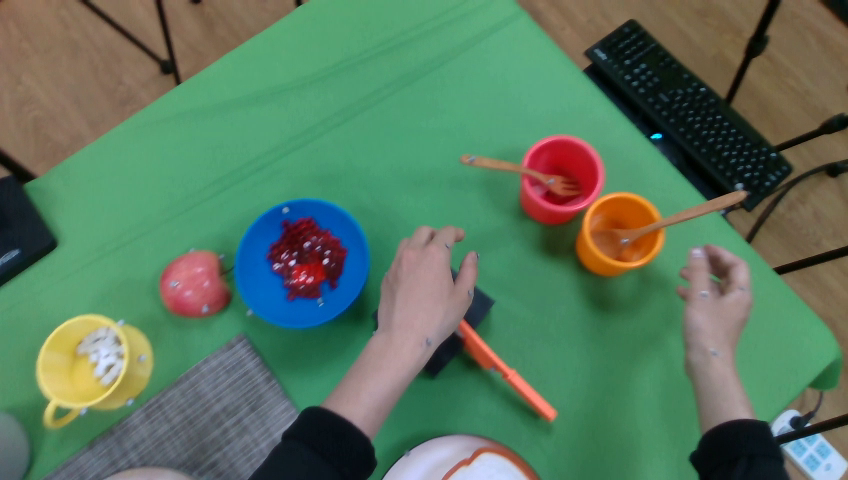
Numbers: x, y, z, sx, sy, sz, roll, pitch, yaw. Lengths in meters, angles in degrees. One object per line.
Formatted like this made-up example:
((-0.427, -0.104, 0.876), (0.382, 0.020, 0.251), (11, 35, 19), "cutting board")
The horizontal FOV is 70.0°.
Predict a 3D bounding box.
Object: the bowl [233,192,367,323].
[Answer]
((-0.138, 0.029, 0.713), (0.151, 0.077, 0.150), (0, 74, 0), "bowl")

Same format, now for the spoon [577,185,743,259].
((0.263, -0.021, 0.692), (0.022, 0.193, 0.041), (5, 68, -45), "spoon")

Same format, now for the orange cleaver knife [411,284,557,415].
((0.066, 0.123, 0.685), (0.212, 0.077, 0.012), (45, 70, -11), "orange cleaver knife")

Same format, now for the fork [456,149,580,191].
((0.116, -0.083, 0.710), (0.209, 0.018, 0.028), (8, 67, -42), "fork")

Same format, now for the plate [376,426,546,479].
((0.040, 0.308, 0.655), (0.209, 0.038, 0.208), (0, 75, 0), "plate")

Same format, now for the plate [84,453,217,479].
((-0.294, 0.335, 0.643), (0.208, 0.039, 0.206), (0, 74, 0), "plate")

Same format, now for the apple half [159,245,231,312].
((-0.277, 0.043, 0.722), (0.075, 0.053, 0.080), (-15, 75, -2), "apple half")

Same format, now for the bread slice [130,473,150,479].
((-0.291, 0.330, 0.644), (0.134, 0.018, 0.107), (34, 77, 7), "bread slice")

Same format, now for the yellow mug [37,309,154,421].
((-0.379, 0.146, 0.686), (0.099, 0.064, 0.130), (29, 77, 8), "yellow mug")

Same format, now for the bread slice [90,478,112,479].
((-0.300, 0.292, 0.563), (0.105, 0.019, 0.131), (-41, 91, -4), "bread slice")

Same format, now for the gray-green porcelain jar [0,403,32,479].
((-0.491, 0.221, 0.633), (0.106, 0.127, 0.105), (0, 73, 0), "gray-green porcelain jar")
